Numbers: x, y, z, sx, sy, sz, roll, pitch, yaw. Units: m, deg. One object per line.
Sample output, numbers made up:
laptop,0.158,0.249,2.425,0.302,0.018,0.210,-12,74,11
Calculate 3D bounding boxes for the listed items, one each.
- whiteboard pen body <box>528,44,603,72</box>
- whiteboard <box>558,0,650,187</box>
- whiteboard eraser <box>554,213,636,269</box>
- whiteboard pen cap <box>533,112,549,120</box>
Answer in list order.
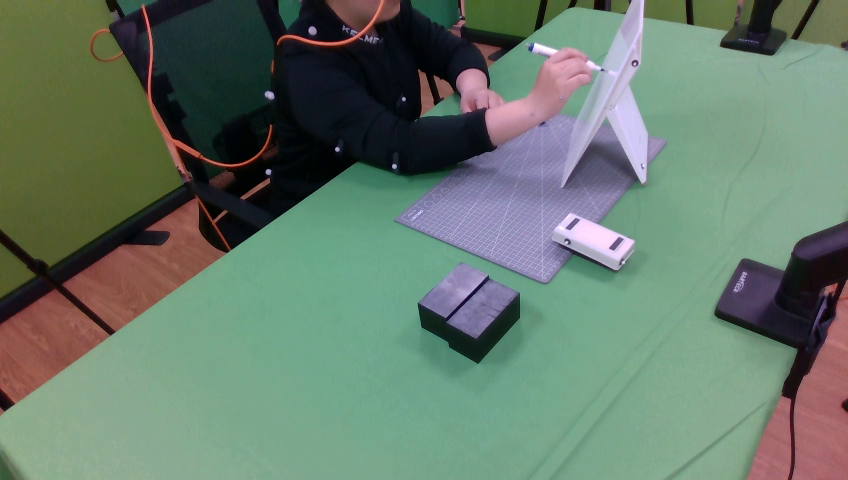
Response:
whiteboard pen body,0.247,-0.312,1.043,0.141,0.017,0.017,15,40,-9
whiteboard,0.362,-0.238,1.026,0.144,0.306,0.217,21,45,4
whiteboard eraser,0.258,0.003,0.918,0.112,0.042,0.056,27,50,30
whiteboard pen cap,0.239,-0.254,1.238,0.018,0.018,0.033,-29,26,-23
